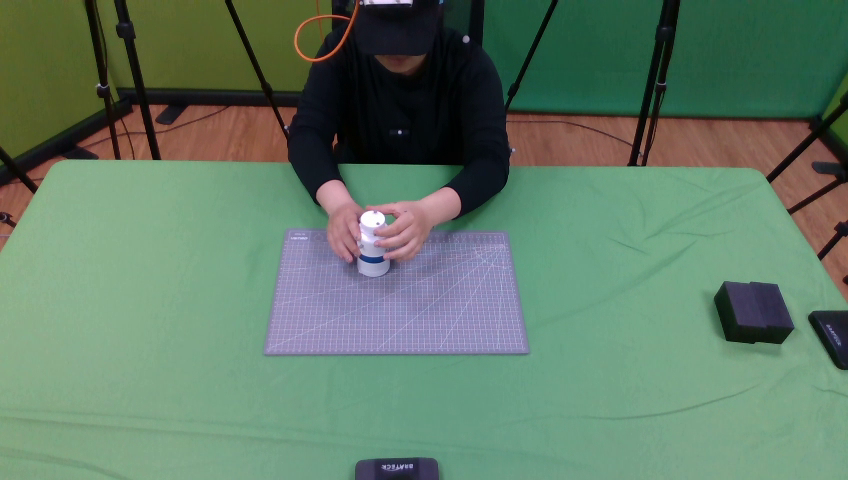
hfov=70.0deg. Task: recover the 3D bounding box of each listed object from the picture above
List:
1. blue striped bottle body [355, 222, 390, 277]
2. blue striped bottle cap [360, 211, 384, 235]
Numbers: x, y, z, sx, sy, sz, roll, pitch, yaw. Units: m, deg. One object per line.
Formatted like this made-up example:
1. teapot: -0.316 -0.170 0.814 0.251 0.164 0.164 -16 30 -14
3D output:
1. blue striped bottle body: -0.095 0.007 1.112 0.063 0.121 0.062 2 46 -2
2. blue striped bottle cap: -0.092 -0.031 1.072 0.044 0.021 0.044 3 44 -3
